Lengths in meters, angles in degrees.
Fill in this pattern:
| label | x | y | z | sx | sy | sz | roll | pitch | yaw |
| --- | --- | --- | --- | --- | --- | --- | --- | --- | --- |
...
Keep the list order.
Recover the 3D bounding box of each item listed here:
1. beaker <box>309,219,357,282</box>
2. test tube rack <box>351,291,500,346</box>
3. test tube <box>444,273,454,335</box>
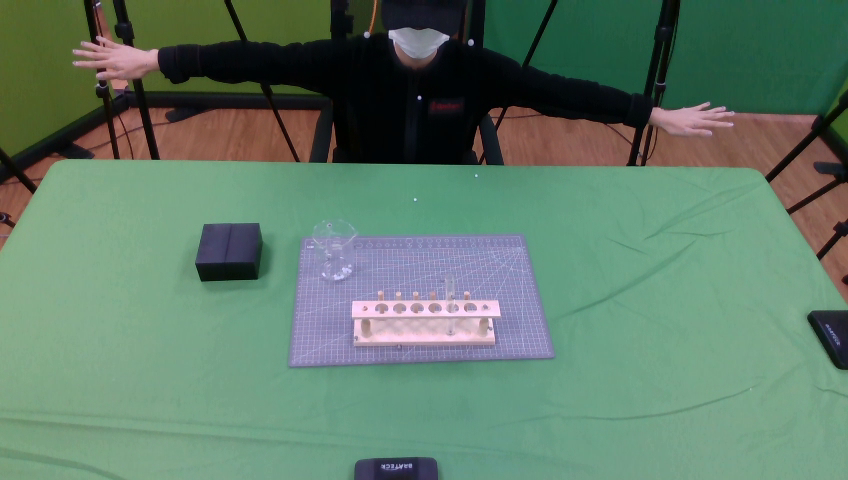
| label | x | y | z | sx | sy | sz | roll | pitch | yaw |
| --- | --- | --- | --- | --- | --- | --- | --- | --- | --- |
| beaker | -0.164 | 0.021 | 1.107 | 0.084 | 0.101 | 0.073 | -5 | 47 | -11 |
| test tube rack | 0.001 | 0.129 | 1.026 | 0.242 | 0.085 | 0.066 | 0 | 46 | -4 |
| test tube | 0.042 | 0.107 | 0.981 | 0.017 | 0.151 | 0.017 | -1 | 47 | 2 |
